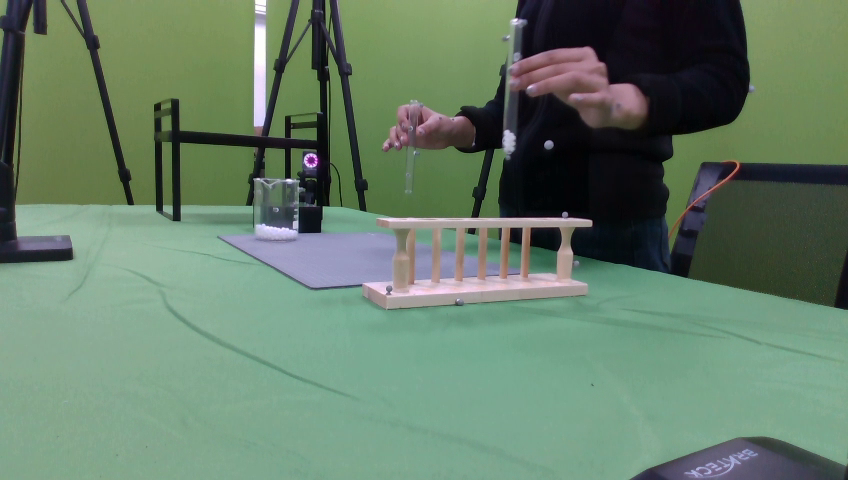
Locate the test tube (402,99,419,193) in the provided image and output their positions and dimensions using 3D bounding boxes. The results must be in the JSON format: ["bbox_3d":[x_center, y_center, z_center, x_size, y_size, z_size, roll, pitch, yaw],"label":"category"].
[{"bbox_3d":[-0.021,-0.150,0.970,0.017,0.150,0.017,5,4,0],"label":"test tube"}]

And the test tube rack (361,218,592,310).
[{"bbox_3d":[0.060,0.018,0.640,0.243,0.085,0.066,-1,8,-27],"label":"test tube rack"}]

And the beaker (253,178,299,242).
[{"bbox_3d":[-0.243,-0.050,0.990,0.074,0.100,0.084,2,9,1],"label":"beaker"}]

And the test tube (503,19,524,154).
[{"bbox_3d":[0.102,-0.174,0.689,0.017,0.150,0.017,3,6,0],"label":"test tube"}]
